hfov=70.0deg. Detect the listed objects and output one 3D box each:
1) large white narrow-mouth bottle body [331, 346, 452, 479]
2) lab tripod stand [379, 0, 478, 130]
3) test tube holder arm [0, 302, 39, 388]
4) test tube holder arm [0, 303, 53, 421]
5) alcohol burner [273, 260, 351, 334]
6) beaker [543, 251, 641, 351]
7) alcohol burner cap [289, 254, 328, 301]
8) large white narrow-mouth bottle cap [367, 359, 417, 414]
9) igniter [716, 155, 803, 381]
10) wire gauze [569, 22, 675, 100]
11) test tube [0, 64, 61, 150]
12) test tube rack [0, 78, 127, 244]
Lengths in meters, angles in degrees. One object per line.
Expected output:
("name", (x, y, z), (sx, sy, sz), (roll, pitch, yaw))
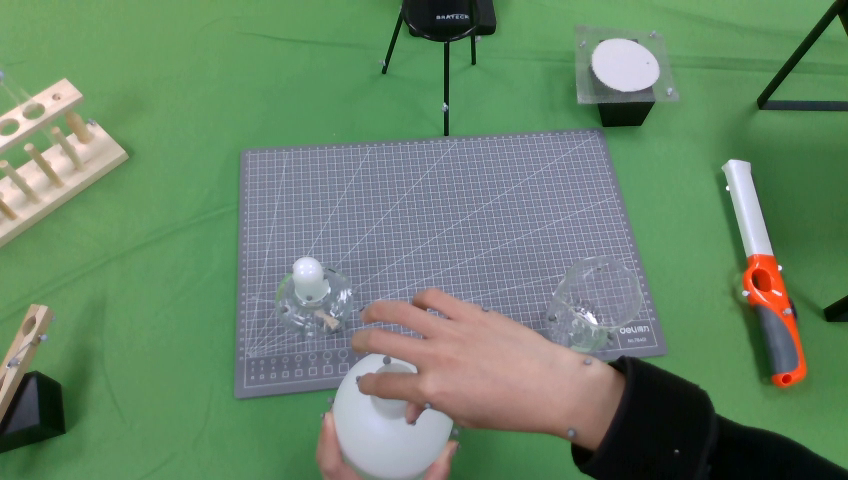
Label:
("large white narrow-mouth bottle body", (-0.027, 0.145, 0.510), (0.102, 0.196, 0.101), (1, 63, -2))
("lab tripod stand", (0.014, -0.229, 0.730), (0.148, 0.132, 0.147), (2, 64, -4))
("test tube holder arm", (-0.373, 0.100, 0.556), (0.010, 0.015, 0.087), (6, 64, 6))
("test tube holder arm", (-0.375, 0.140, 0.536), (0.013, 0.015, 0.177), (7, 64, 6))
("alcohol burner", (-0.111, 0.049, 0.594), (0.078, 0.120, 0.077), (2, 62, -4))
("beaker", (0.160, 0.066, 0.610), (0.084, 0.101, 0.073), (-3, 63, -4))
("alcohol burner cap", (-0.109, 0.033, 0.561), (0.034, 0.048, 0.033), (0, 59, 0))
("large white narrow-mouth bottle cap", (-0.023, 0.105, 0.434), (0.038, 0.024, 0.037), (1, 64, -3))
("igniter", (0.378, 0.024, 0.688), (0.057, 0.025, 0.274), (6, 63, -12))
("wire gauze", (0.243, -0.223, 0.756), (0.121, 0.011, 0.124), (2, 63, -2))
("test tube", (-0.417, -0.143, 0.631), (0.017, 0.151, 0.017), (0, 62, 0))
("test tube rack", (-0.454, -0.061, 0.644), (0.066, 0.086, 0.242), (41, 68, 15))
